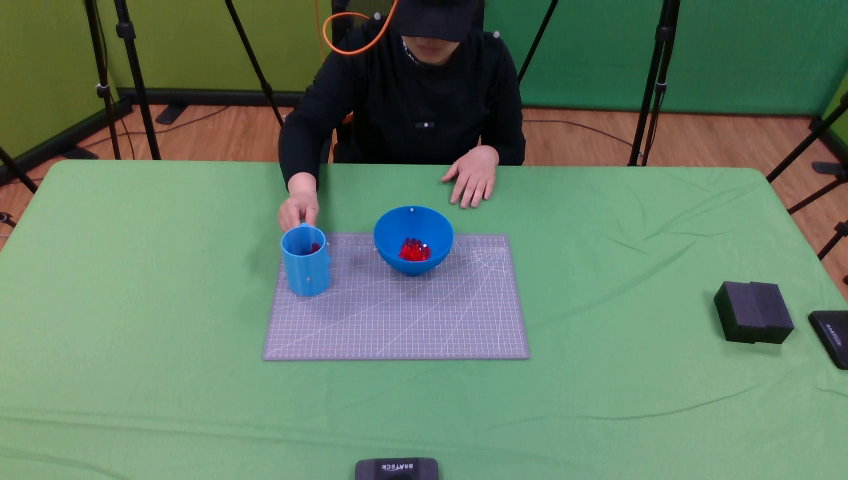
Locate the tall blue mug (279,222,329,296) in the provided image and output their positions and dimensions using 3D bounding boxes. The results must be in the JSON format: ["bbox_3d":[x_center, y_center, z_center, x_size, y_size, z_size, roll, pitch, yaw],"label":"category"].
[{"bbox_3d":[-0.221,0.029,1.090,0.078,0.108,0.106,-26,53,-25],"label":"tall blue mug"}]

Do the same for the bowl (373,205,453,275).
[{"bbox_3d":[-0.022,0.013,1.143,0.151,0.077,0.150,2,46,-2],"label":"bowl"}]
